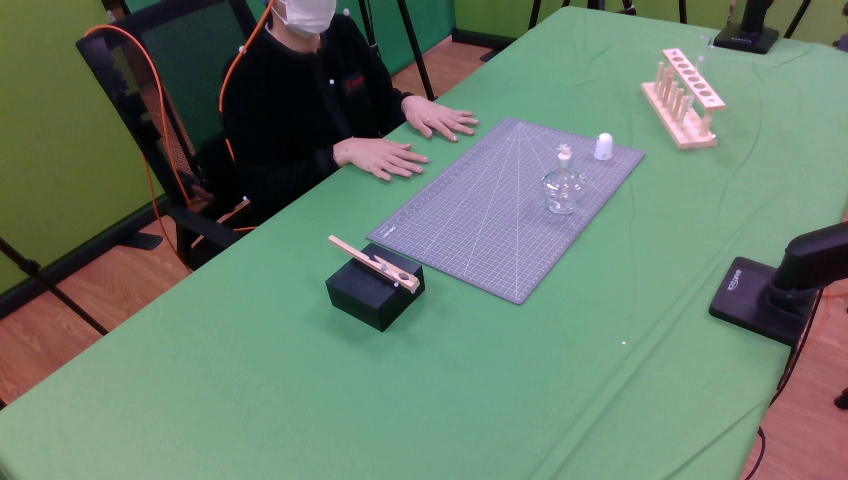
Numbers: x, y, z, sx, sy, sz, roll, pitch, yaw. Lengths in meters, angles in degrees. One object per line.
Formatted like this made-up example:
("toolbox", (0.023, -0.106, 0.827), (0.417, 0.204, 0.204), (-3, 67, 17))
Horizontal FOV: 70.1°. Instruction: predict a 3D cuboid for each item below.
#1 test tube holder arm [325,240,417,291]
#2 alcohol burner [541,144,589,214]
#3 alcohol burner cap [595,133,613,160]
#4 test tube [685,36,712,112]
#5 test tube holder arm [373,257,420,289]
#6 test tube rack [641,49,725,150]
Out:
("test tube holder arm", (-0.081, 0.034, 0.874), (0.177, 0.015, 0.013), (22, 48, 31))
("alcohol burner", (0.229, -0.102, 0.983), (0.078, 0.119, 0.077), (-6, 41, 5))
("alcohol burner cap", (0.330, -0.172, 1.104), (0.034, 0.048, 0.033), (-5, 41, 5))
("test tube", (0.509, -0.307, 1.129), (0.017, 0.151, 0.017), (-1, 43, 2))
("test tube holder arm", (-0.042, 0.046, 0.854), (0.087, 0.015, 0.010), (24, 49, 33))
("test tube rack", (0.495, -0.279, 1.175), (0.067, 0.085, 0.241), (-5, 41, 3))
